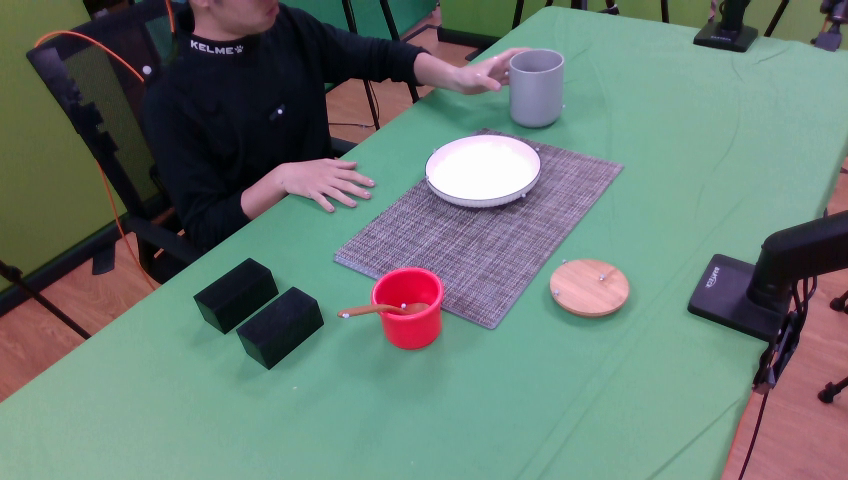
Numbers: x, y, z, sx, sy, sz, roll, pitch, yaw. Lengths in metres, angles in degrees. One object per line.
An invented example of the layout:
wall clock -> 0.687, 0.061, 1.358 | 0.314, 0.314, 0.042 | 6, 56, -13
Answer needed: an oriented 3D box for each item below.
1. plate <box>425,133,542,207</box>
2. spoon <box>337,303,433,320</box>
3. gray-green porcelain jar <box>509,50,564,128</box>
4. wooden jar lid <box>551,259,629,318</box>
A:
plate -> 0.106, -0.122, 1.079 | 0.207, 0.039, 0.206 | -4, 41, 4
spoon -> -0.048, 0.091, 0.777 | 0.041, 0.021, 0.195 | 23, 5, 32
gray-green porcelain jar -> 0.222, -0.297, 1.204 | 0.106, 0.127, 0.105 | -4, 41, 4
wooden jar lid -> 0.234, 0.070, 0.857 | 0.108, 0.021, 0.108 | -5, 40, 4
